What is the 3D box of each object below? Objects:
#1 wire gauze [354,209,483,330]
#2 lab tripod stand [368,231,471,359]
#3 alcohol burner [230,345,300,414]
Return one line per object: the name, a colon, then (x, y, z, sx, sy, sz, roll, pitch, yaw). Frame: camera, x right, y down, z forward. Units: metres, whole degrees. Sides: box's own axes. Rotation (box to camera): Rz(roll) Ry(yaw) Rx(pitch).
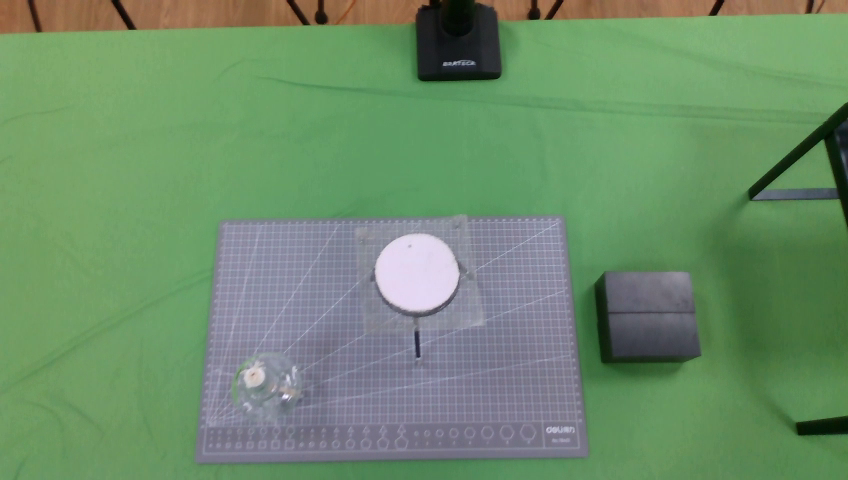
wire gauze: (-0.008, 0.030, 0.627, 0.125, 0.011, 0.120, -5, 71, -3)
lab tripod stand: (-0.005, 0.050, 0.691, 0.148, 0.132, 0.147, 0, 69, 0)
alcohol burner: (-0.178, 0.151, 0.666, 0.078, 0.120, 0.077, 1, 69, -2)
